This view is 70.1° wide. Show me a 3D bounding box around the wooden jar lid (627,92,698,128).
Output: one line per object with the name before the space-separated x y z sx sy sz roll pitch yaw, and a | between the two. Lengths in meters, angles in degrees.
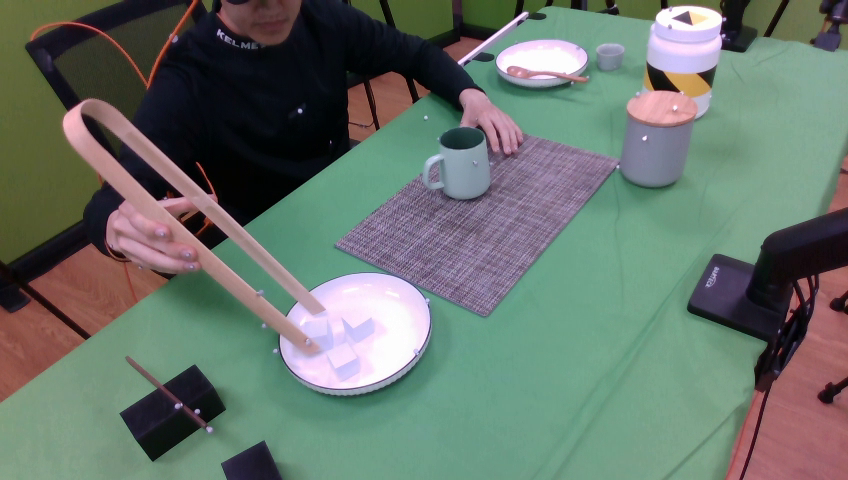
wooden jar lid | 0.384 -0.207 0.980 0.108 0.021 0.108 -6 39 5

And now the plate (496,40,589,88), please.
plate | 0.269 -0.398 1.381 0.209 0.038 0.208 -4 41 4

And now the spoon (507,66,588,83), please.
spoon | 0.265 -0.357 1.311 0.192 0.022 0.042 18 47 38

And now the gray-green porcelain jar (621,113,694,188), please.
gray-green porcelain jar | 0.390 -0.160 1.020 0.106 0.127 0.105 -4 41 4

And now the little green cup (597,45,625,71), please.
little green cup | 0.422 -0.413 1.375 0.061 0.039 0.061 -3 41 3

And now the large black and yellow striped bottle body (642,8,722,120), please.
large black and yellow striped bottle body | 0.493 -0.334 1.161 0.131 0.185 0.130 -4 41 4

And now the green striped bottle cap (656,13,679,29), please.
green striped bottle cap | 0.515 -0.463 1.278 0.044 0.020 0.044 -6 42 6

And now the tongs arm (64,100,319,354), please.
tongs arm | -0.247 0.005 0.696 0.026 0.388 0.050 -23 37 22

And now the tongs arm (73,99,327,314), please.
tongs arm | -0.246 -0.022 0.729 0.027 0.390 0.028 -21 39 25

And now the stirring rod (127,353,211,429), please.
stirring rod | -0.311 0.180 0.731 0.175 0.014 0.006 25 54 31

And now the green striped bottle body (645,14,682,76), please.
green striped bottle body | 0.520 -0.424 1.312 0.063 0.120 0.063 -4 41 4

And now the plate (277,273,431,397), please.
plate | -0.091 0.129 0.820 0.207 0.039 0.206 -4 40 4

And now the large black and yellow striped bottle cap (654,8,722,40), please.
large black and yellow striped bottle cap | 0.483 -0.397 1.108 0.115 0.019 0.114 -3 41 3

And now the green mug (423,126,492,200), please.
green mug | 0.055 -0.125 1.039 0.126 0.105 0.091 -25 44 -18
